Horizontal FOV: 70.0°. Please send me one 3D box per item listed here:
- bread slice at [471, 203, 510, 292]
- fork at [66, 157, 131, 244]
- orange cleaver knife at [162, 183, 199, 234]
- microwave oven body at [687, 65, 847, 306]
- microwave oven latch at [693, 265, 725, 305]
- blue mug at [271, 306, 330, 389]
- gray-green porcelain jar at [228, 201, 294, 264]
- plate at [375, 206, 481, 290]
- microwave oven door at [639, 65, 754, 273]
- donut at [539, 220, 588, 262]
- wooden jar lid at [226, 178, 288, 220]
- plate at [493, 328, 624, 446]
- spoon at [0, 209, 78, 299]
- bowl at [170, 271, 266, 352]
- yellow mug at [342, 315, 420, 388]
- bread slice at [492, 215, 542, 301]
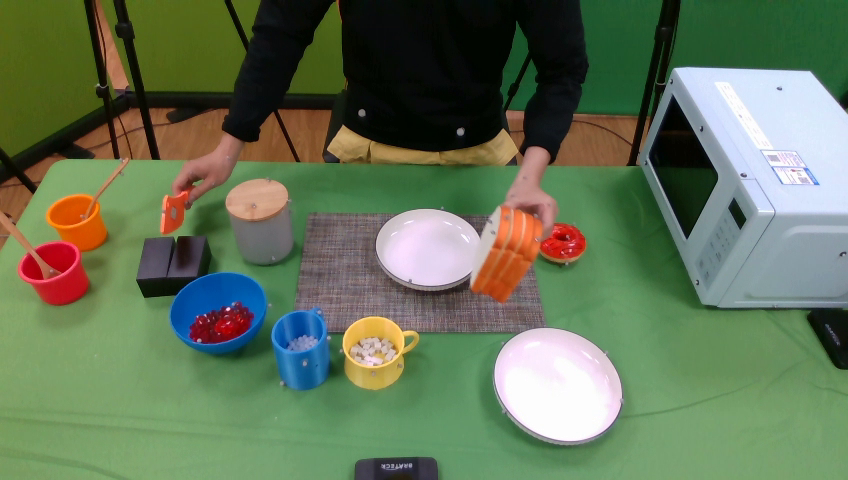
[{"bbox_3d":[0.105,0.003,0.967,0.019,0.132,0.104,18,42,-5],"label":"bread slice"},{"bbox_3d":[-0.608,-0.074,1.132,0.207,0.019,0.028,-52,49,10],"label":"fork"},{"bbox_3d":[-0.455,-0.063,1.135,0.012,0.077,0.210,4,14,-7],"label":"orange cleaver knife"},{"bbox_3d":[0.669,-0.111,1.176,0.326,0.261,0.439,0,46,-3],"label":"microwave oven body"},{"bbox_3d":[0.522,0.081,1.115,0.030,0.029,0.078,2,46,-1],"label":"microwave oven latch"},{"bbox_3d":[-0.188,0.163,0.969,0.082,0.106,0.116,15,47,10],"label":"blue mug"},{"bbox_3d":[-0.299,-0.027,1.126,0.106,0.127,0.105,2,46,-2],"label":"gray-green porcelain jar"},{"bbox_3d":[0.009,0.019,1.161,0.209,0.038,0.208,2,47,-2],"label":"plate"},{"bbox_3d":[0.522,-0.147,1.193,0.039,0.245,0.353,0,47,-3],"label":"microwave oven door"},{"bbox_3d":[0.273,0.000,1.198,0.099,0.048,0.098,0,47,0],"label":"donut"},{"bbox_3d":[-0.296,-0.070,1.081,0.108,0.021,0.107,1,45,-1],"label":"wooden jar lid"},{"bbox_3d":[0.213,0.236,0.974,0.208,0.039,0.206,2,46,-2],"label":"plate"},{"bbox_3d":[-0.668,0.021,1.040,0.041,0.021,0.194,-41,105,-30],"label":"spoon"},{"bbox_3d":[-0.333,0.132,1.006,0.151,0.077,0.150,2,46,-2],"label":"bowl"},{"bbox_3d":[-0.067,0.177,0.990,0.131,0.064,0.099,-15,50,-19],"label":"yellow mug"},{"bbox_3d":[0.149,0.023,0.973,0.018,0.134,0.106,23,47,-9],"label":"bread slice"}]
